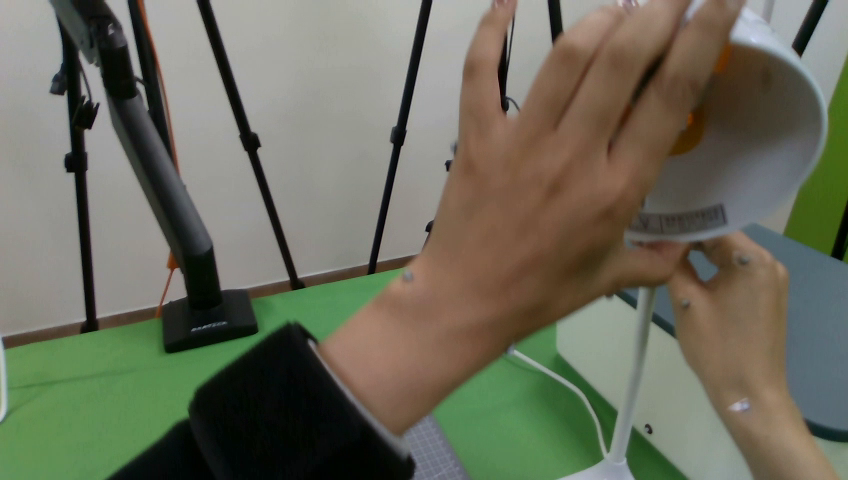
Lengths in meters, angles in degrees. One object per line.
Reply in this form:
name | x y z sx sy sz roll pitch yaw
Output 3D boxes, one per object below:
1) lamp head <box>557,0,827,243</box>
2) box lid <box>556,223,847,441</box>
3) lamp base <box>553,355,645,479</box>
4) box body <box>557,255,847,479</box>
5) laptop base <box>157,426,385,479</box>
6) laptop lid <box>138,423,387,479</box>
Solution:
lamp head | 0.124 -0.073 0.309 0.112 0.113 0.122 4 38 10
box lid | 0.335 0.051 0.619 0.264 0.015 0.367 -10 27 -21
lamp base | 0.142 0.191 0.477 0.160 0.181 0.179 10 24 18
box body | 0.337 0.120 0.650 0.255 0.161 0.360 -11 27 -21
laptop base | -0.188 0.278 0.493 0.355 0.023 0.233 -10 30 -19
laptop lid | -0.187 0.268 0.486 0.358 0.013 0.239 -9 29 -17
